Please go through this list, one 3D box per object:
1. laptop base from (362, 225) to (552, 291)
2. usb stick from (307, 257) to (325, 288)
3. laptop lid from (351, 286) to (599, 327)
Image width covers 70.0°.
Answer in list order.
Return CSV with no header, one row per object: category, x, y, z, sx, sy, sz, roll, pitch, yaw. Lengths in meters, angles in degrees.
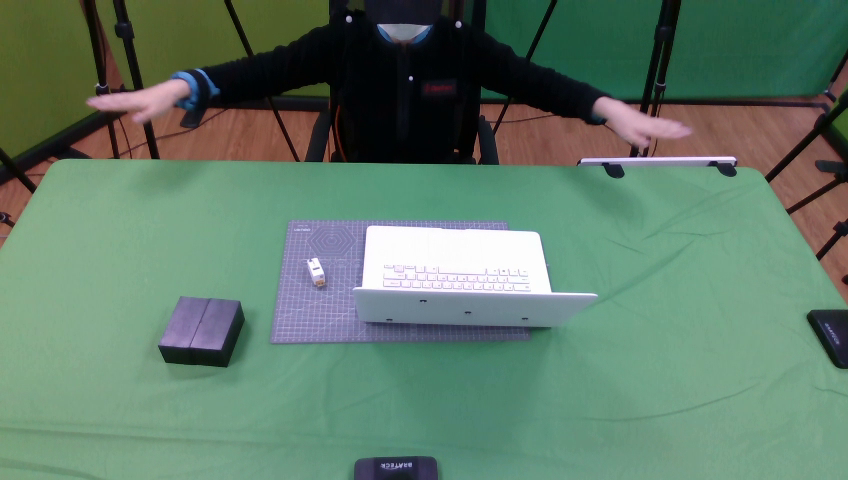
laptop base,0.061,0.063,1.145,0.354,0.023,0.234,2,43,-3
usb stick,-0.198,0.062,1.116,0.021,0.027,0.059,-15,52,-19
laptop lid,0.068,0.109,0.952,0.357,0.242,0.013,2,71,-4
